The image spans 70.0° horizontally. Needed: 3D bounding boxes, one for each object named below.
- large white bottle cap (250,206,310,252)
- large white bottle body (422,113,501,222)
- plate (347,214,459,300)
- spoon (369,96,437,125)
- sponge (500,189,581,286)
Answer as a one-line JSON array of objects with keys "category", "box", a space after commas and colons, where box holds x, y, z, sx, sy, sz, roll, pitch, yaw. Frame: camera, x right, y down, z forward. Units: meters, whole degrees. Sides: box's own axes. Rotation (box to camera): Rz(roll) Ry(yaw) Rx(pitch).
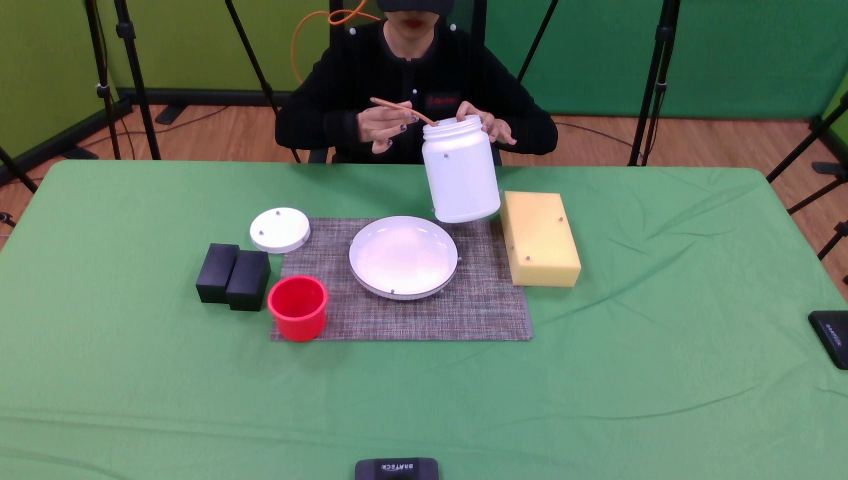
[{"category": "large white bottle cap", "box": [-0.284, -0.023, 1.197, 0.115, 0.018, 0.114, 1, 46, 0]}, {"category": "large white bottle body", "box": [0.068, -0.139, 1.153, 0.130, 0.185, 0.130, -11, 17, 4]}, {"category": "plate", "box": [-0.040, 0.034, 1.146, 0.209, 0.038, 0.208, 2, 47, -2]}, {"category": "spoon", "box": [-0.011, -0.228, 1.113, 0.194, 0.022, 0.041, 20, 26, -24]}, {"category": "sponge", "box": [0.224, -0.007, 1.192, 0.118, 0.061, 0.205, 1, 47, -6]}]
